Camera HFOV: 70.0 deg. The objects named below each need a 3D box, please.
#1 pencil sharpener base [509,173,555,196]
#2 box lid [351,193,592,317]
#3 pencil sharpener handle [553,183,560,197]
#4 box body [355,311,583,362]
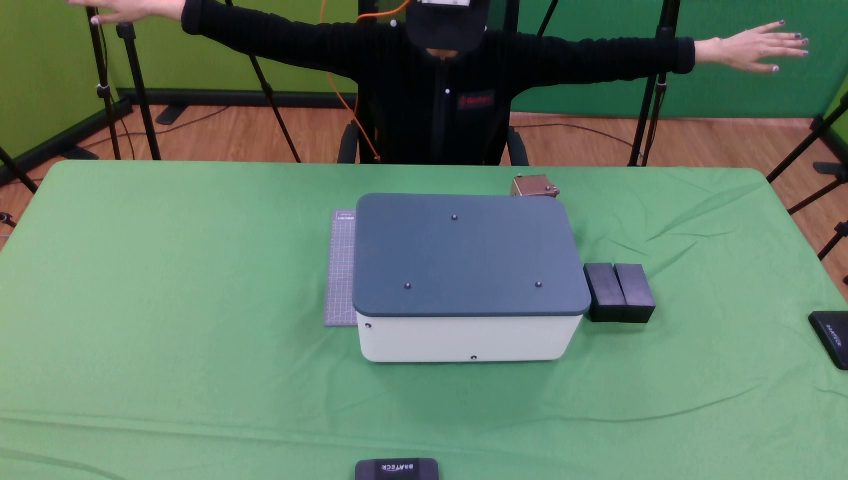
[{"bbox_3d":[0.216,-0.075,1.224,0.077,0.107,0.061,-6,46,-10],"label":"pencil sharpener base"},{"bbox_3d":[0.071,0.017,0.984,0.372,0.015,0.261,0,47,-4],"label":"box lid"},{"bbox_3d":[0.267,-0.089,1.224,0.031,0.068,0.035,-6,44,-10],"label":"pencil sharpener handle"},{"bbox_3d":[0.066,0.068,1.038,0.364,0.161,0.252,0,46,-4],"label":"box body"}]
